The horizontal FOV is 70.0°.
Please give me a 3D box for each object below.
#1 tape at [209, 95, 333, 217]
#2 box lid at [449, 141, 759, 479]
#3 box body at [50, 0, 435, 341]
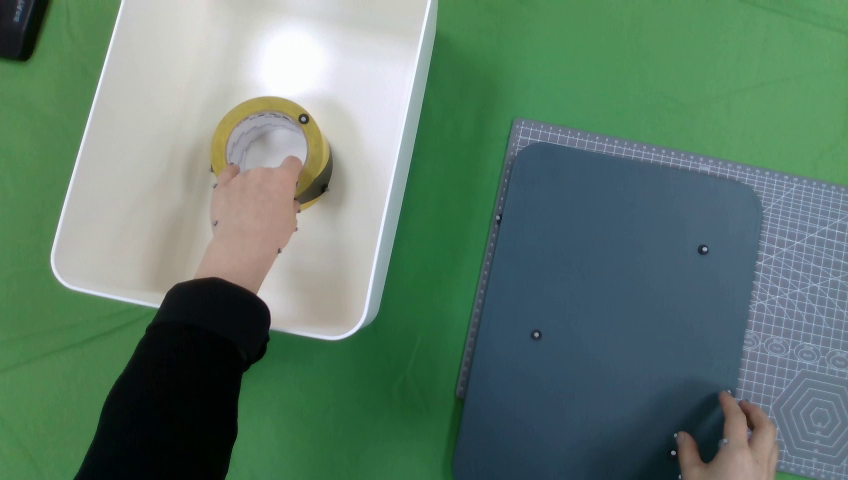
[{"bbox_3d":[-0.153,-0.082,0.613,0.117,0.053,0.116,0,80,3],"label":"tape"},{"bbox_3d":[0.185,0.093,0.613,0.263,0.015,0.370,12,83,2],"label":"box lid"},{"bbox_3d":[-0.139,-0.106,0.568,0.254,0.161,0.363,11,83,2],"label":"box body"}]
